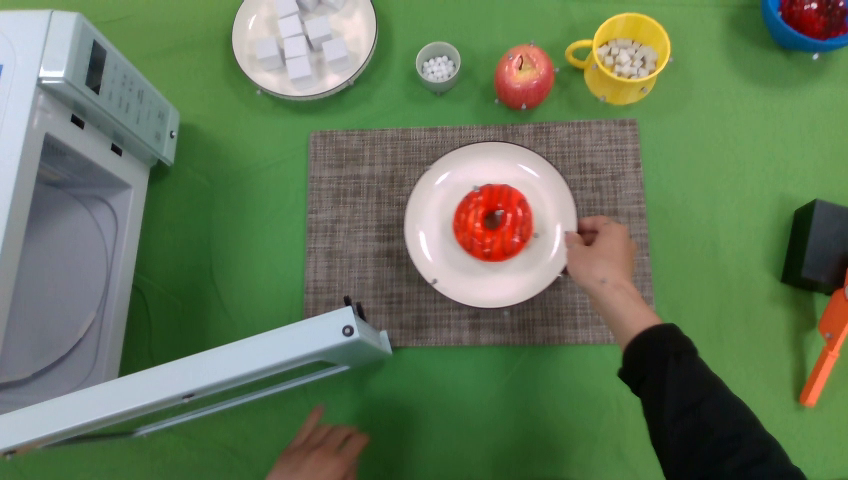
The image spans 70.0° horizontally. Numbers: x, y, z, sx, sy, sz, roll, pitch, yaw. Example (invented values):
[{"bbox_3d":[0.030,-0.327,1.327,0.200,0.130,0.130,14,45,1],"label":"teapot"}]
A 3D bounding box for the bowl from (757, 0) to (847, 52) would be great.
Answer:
[{"bbox_3d":[0.512,-0.309,0.809,0.151,0.077,0.150,-1,77,4],"label":"bowl"}]

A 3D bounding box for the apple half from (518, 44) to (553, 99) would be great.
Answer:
[{"bbox_3d":[0.153,-0.229,0.814,0.033,0.082,0.081,-29,76,1],"label":"apple half"}]

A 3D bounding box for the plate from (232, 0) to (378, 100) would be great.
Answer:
[{"bbox_3d":[-0.167,-0.292,0.867,0.207,0.039,0.206,-1,77,3],"label":"plate"}]

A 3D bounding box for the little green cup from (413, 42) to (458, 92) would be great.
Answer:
[{"bbox_3d":[0.018,-0.238,0.843,0.061,0.039,0.061,-1,76,4],"label":"little green cup"}]

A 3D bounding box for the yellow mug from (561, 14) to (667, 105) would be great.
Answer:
[{"bbox_3d":[0.251,-0.244,0.816,0.130,0.064,0.099,9,77,6],"label":"yellow mug"}]

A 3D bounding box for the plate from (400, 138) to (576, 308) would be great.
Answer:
[{"bbox_3d":[0.076,-0.020,0.733,0.209,0.038,0.208,-1,78,7],"label":"plate"}]

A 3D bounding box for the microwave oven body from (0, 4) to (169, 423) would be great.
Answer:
[{"bbox_3d":[-0.518,-0.007,0.702,0.326,0.261,0.439,1,77,3],"label":"microwave oven body"}]

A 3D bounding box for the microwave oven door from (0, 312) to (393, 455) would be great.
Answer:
[{"bbox_3d":[-0.220,0.151,0.642,0.356,0.245,0.039,-18,75,-1],"label":"microwave oven door"}]

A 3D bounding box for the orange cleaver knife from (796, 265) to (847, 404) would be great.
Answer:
[{"bbox_3d":[0.484,0.093,0.711,0.012,0.077,0.212,18,110,10],"label":"orange cleaver knife"}]

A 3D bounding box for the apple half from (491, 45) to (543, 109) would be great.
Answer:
[{"bbox_3d":[0.118,-0.211,0.813,0.053,0.075,0.080,-28,80,1],"label":"apple half"}]

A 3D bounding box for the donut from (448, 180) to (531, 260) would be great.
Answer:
[{"bbox_3d":[0.078,-0.024,0.722,0.099,0.048,0.098,-1,81,9],"label":"donut"}]

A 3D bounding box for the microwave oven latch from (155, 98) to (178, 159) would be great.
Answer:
[{"bbox_3d":[-0.357,-0.152,0.825,0.030,0.029,0.079,3,78,4],"label":"microwave oven latch"}]
